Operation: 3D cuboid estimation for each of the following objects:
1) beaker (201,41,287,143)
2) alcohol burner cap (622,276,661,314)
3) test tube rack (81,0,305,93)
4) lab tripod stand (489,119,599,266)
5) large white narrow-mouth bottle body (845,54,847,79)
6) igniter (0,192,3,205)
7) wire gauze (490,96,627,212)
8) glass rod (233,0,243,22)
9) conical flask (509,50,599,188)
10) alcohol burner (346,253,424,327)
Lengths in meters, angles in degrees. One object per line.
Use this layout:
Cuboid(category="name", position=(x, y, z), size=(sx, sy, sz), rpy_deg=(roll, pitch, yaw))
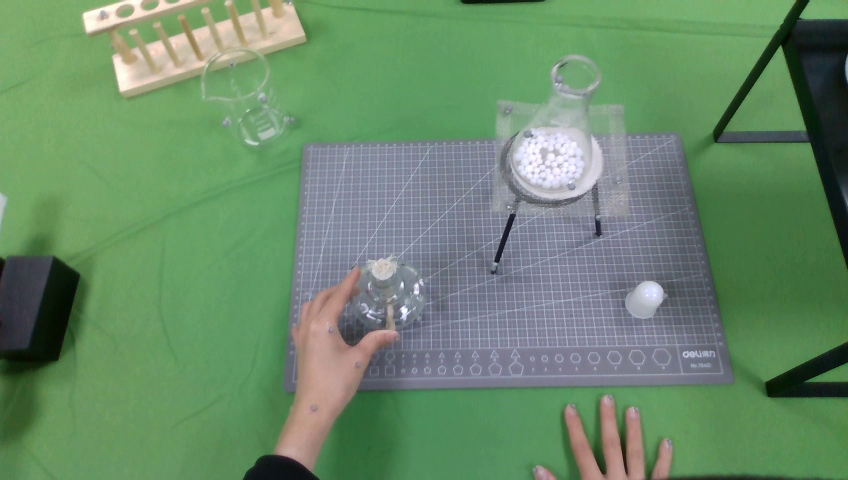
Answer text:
Cuboid(category="beaker", position=(-0.206, -0.165, 0.701), size=(0.084, 0.101, 0.073), rpy_deg=(-41, 70, -15))
Cuboid(category="alcohol burner cap", position=(0.224, 0.053, 0.619), size=(0.034, 0.048, 0.033), rpy_deg=(-1, 67, 2))
Cuboid(category="test tube rack", position=(-0.282, -0.272, 0.759), size=(0.242, 0.086, 0.066), rpy_deg=(-20, 67, -7))
Cuboid(category="lab tripod stand", position=(0.119, -0.050, 0.618), size=(0.148, 0.132, 0.147), rpy_deg=(0, 64, 0))
Cuboid(category="large white narrow-mouth bottle body", position=(0.411, -0.181, 0.441), size=(0.102, 0.196, 0.101), rpy_deg=(0, 64, 1))
Cuboid(category="igniter", position=(-0.451, 0.072, 0.591), size=(0.057, 0.025, 0.274), rpy_deg=(-10, 65, 2))
Cuboid(category="wire gauze", position=(0.124, -0.081, 0.560), size=(0.121, 0.011, 0.124), rpy_deg=(5, 64, 1))
Cuboid(category="glass rod", position=(-0.236, -0.333, 0.711), size=(0.008, 0.201, 0.008), rpy_deg=(1, 64, -3))
Cuboid(category="conical flask", position=(0.113, -0.102, 0.504), size=(0.075, 0.123, 0.075), rpy_deg=(0, 66, 1))
Cuboid(category="alcohol burner", position=(-0.039, 0.042, 0.593), size=(0.078, 0.120, 0.077), rpy_deg=(0, 64, 0))
